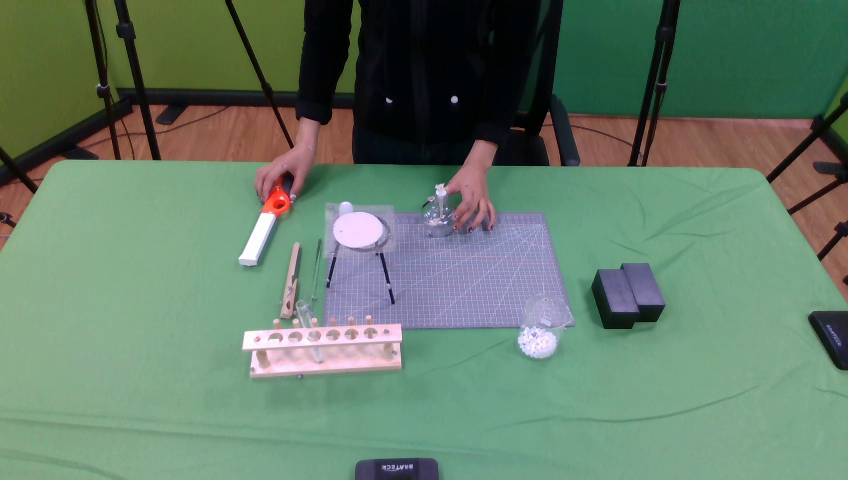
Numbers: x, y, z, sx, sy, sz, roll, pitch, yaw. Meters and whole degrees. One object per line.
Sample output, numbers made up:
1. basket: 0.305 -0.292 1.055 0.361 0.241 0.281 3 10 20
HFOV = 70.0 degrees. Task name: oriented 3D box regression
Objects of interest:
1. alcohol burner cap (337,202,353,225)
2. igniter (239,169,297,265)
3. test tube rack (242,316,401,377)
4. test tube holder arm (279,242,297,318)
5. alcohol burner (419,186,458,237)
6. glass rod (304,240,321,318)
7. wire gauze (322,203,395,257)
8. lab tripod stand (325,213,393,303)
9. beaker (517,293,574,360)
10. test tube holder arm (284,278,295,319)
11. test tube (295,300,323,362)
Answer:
1. alcohol burner cap: -0.161 -0.056 1.223 0.034 0.048 0.033 1 47 -1
2. igniter: -0.311 -0.055 1.224 0.057 0.025 0.275 6 45 4
3. test tube rack: -0.161 0.166 0.983 0.242 0.085 0.066 -2 46 -6
4. test tube holder arm: -0.249 0.069 1.114 0.013 0.015 0.177 26 38 -28
5. alcohol burner: 0.030 -0.063 1.196 0.078 0.119 0.077 3 48 -3
6. glass rod: -0.206 0.068 1.128 0.008 0.008 0.198 2 43 -2
7. wire gauze: -0.111 -0.020 1.035 0.121 0.011 0.124 0 47 -7
8. lab tripod stand: -0.104 0.031 1.080 0.148 0.132 0.147 4 45 -4
9. beaker: 0.200 0.149 1.018 0.084 0.101 0.073 14 47 8
10. test tube holder arm: -0.241 0.103 1.085 0.010 0.015 0.087 26 38 -27
11. test tube: -0.176 0.143 0.935 0.017 0.151 0.017 -2 46 2
